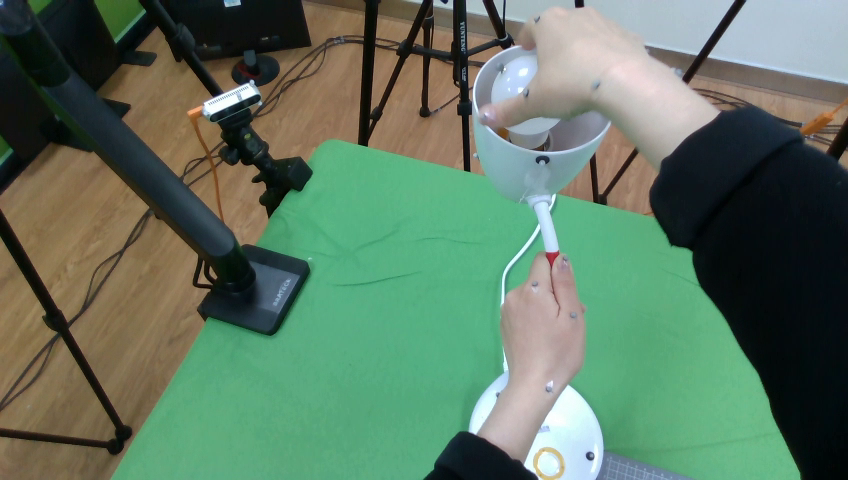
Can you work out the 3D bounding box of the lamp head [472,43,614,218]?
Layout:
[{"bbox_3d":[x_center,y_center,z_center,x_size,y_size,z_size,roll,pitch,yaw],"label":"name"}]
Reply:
[{"bbox_3d":[0.093,-0.082,0.516,0.112,0.124,0.111,0,57,0],"label":"lamp head"}]

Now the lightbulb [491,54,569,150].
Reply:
[{"bbox_3d":[0.085,-0.102,0.491,0.059,0.108,0.059,-4,62,7],"label":"lightbulb"}]

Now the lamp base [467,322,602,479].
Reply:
[{"bbox_3d":[0.124,0.181,0.671,0.161,0.182,0.177,-21,55,-12],"label":"lamp base"}]
